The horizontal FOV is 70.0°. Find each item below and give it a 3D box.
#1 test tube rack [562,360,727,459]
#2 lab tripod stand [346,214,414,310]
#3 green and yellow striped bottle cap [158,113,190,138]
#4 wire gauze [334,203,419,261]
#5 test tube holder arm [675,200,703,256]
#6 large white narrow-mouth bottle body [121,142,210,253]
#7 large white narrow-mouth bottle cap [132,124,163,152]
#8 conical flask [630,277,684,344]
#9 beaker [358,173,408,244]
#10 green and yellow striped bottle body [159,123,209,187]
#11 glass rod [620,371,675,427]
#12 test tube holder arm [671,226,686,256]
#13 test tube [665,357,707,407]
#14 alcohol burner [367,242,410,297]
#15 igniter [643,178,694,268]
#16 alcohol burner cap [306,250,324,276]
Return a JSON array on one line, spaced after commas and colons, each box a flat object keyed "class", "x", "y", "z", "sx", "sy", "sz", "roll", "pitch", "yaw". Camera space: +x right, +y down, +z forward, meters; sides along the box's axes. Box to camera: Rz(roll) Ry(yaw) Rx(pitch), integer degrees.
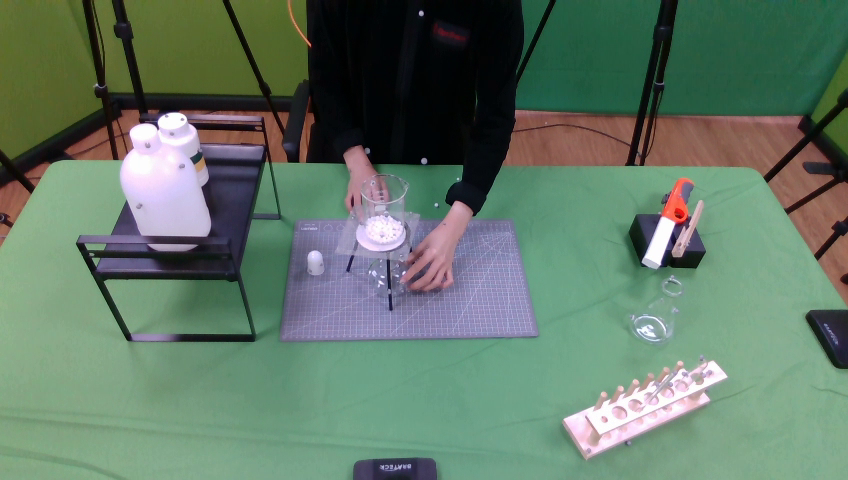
[{"class": "test tube rack", "x": 0.341, "y": 0.247, "z": 0.940, "sx": 0.243, "sy": 0.085, "sz": 0.066, "roll": -16, "pitch": 49, "yaw": -18}, {"class": "lab tripod stand", "x": -0.075, "y": 0.030, "z": 1.082, "sx": 0.148, "sy": 0.132, "sz": 0.147, "roll": 1, "pitch": 47, "yaw": -1}, {"class": "green and yellow striped bottle cap", "x": -0.393, "y": -0.180, "z": 0.951, "sx": 0.045, "sy": 0.020, "sz": 0.045, "roll": 2, "pitch": 44, "yaw": -2}, {"class": "wire gauze", "x": -0.079, "y": -0.013, "z": 1.031, "sx": 0.121, "sy": 0.011, "sz": 0.124, "roll": 8, "pitch": 48, "yaw": 7}, {"class": "test tube holder arm", "x": 0.523, "y": -0.025, "z": 1.190, "sx": 0.013, "sy": 0.015, "sz": 0.178, "roll": 1, "pitch": 36, "yaw": 41}, {"class": "large white narrow-mouth bottle body", "x": -0.378, "y": -0.077, "z": 0.875, "sx": 0.102, "sy": 0.195, "sz": 0.101, "roll": 3, "pitch": 46, "yaw": -3}, {"class": "large white narrow-mouth bottle cap", "x": -0.371, "y": -0.138, "z": 0.812, "sx": 0.038, "sy": 0.024, "sz": 0.037, "roll": 3, "pitch": 46, "yaw": -3}, {"class": "conical flask", "x": 0.408, "y": 0.117, "z": 1.045, "sx": 0.075, "sy": 0.122, "sz": 0.075, "roll": 2, "pitch": 46, "yaw": -2}, {"class": "beaker", "x": -0.066, "y": -0.050, "z": 1.000, "sx": 0.084, "sy": 0.101, "sz": 0.073, "roll": -18, "pitch": 49, "yaw": -20}, {"class": "green and yellow striped bottle body", "x": -0.395, "y": -0.145, "z": 0.989, "sx": 0.063, "sy": 0.120, "sz": 0.063, "roll": 2, "pitch": 46, "yaw": -2}, {"class": "glass rod", "x": 0.315, "y": 0.230, "z": 0.863, "sx": 0.008, "sy": 0.200, "sz": 0.008, "roll": 3, "pitch": 54, "yaw": -3}, {"class": "test tube holder arm", "x": 0.494, "y": 0.001, "z": 1.167, "sx": 0.010, "sy": 0.015, "sz": 0.087, "roll": 1, "pitch": 36, "yaw": 42}, {"class": "test tube", "x": 0.387, "y": 0.215, "z": 0.905, "sx": 0.017, "sy": 0.151, "sz": 0.017, "roll": 1, "pitch": 52, "yaw": -1}, {"class": "alcohol burner", "x": -0.064, "y": 0.047, "z": 1.080, "sx": 0.078, "sy": 0.120, "sz": 0.077, "roll": 1, "pitch": 48, "yaw": -1}, {"class": "igniter", "x": 0.488, "y": -0.042, "z": 1.205, "sx": 0.057, "sy": 0.025, "sz": 0.276, "roll": 30, "pitch": 51, "yaw": 11}, {"class": "alcohol burner cap", "x": -0.204, "y": 0.040, "z": 1.125, "sx": 0.034, "sy": 0.048, "sz": 0.033, "roll": 2, "pitch": 46, "yaw": -2}]
